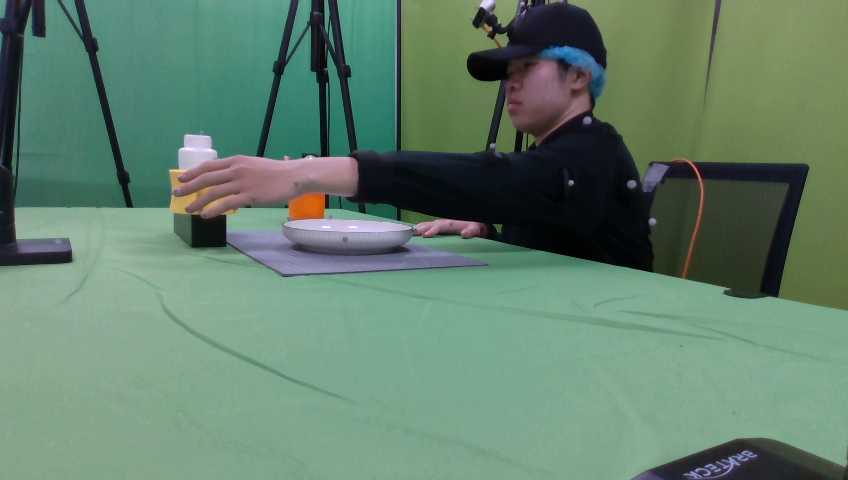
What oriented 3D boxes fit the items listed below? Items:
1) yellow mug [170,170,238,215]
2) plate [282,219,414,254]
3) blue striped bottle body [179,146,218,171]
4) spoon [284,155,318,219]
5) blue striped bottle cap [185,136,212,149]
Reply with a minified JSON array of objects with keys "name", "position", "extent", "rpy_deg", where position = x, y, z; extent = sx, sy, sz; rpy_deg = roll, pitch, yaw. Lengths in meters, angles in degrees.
[{"name":"yellow mug","position":[-0.342,-0.074,0.939],"extent":[0.100,0.064,0.130],"rpy_deg":[0,8,-16]},{"name":"plate","position":[-0.121,-0.007,0.970],"extent":[0.208,0.039,0.207],"rpy_deg":[2,7,0]},{"name":"blue striped bottle body","position":[-0.392,-0.118,1.053],"extent":[0.063,0.120,0.063],"rpy_deg":[3,8,0]},{"name":"spoon","position":[-0.286,-0.122,1.367],"extent":[0.042,0.021,0.193],"rpy_deg":[-6,51,-36]},{"name":"blue striped bottle cap","position":[-0.390,-0.169,1.047],"extent":[0.044,0.020,0.044],"rpy_deg":[4,10,0]}]
